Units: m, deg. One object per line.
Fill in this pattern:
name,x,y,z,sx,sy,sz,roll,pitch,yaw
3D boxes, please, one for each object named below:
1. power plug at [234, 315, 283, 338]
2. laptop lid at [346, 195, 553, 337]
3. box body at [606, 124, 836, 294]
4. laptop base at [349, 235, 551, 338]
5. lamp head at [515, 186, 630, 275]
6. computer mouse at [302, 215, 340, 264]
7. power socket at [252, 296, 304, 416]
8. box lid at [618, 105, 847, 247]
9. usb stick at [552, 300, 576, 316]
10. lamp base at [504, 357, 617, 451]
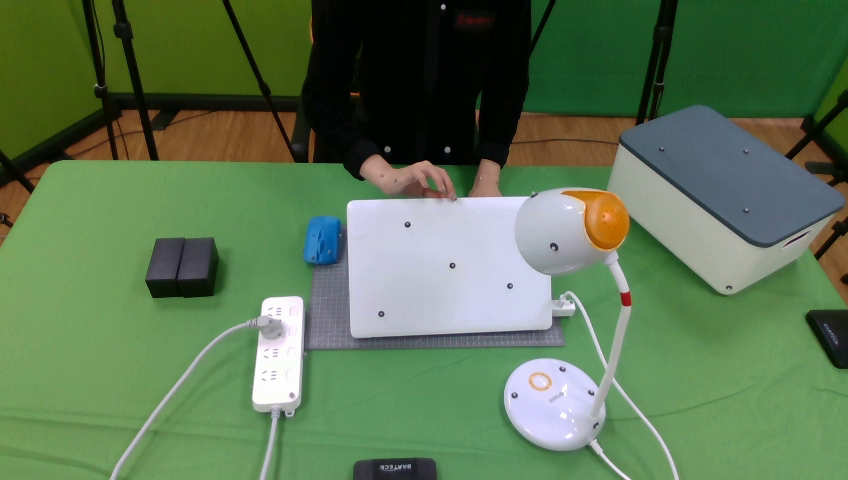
power plug,-0.269,0.143,1.000,0.072,0.053,0.035,4,47,3
laptop lid,0.047,0.042,1.035,0.357,0.013,0.241,0,90,-6
box body,0.584,-0.088,1.230,0.254,0.161,0.361,-22,52,-23
laptop base,0.039,0.081,1.124,0.355,0.023,0.234,-2,43,-6
lamp head,0.188,-0.013,0.728,0.112,0.112,0.122,-25,9,-25
computer mouse,-0.198,-0.005,1.172,0.063,0.041,0.116,4,51,-4
power socket,-0.238,0.181,0.997,0.072,0.033,0.225,-3,47,-5
box lid,0.587,-0.138,1.175,0.263,0.015,0.369,-22,51,-22
usb stick,0.239,0.121,1.083,0.059,0.027,0.021,-1,52,-1
lamp base,0.220,0.211,0.903,0.160,0.181,0.178,-32,59,-30
